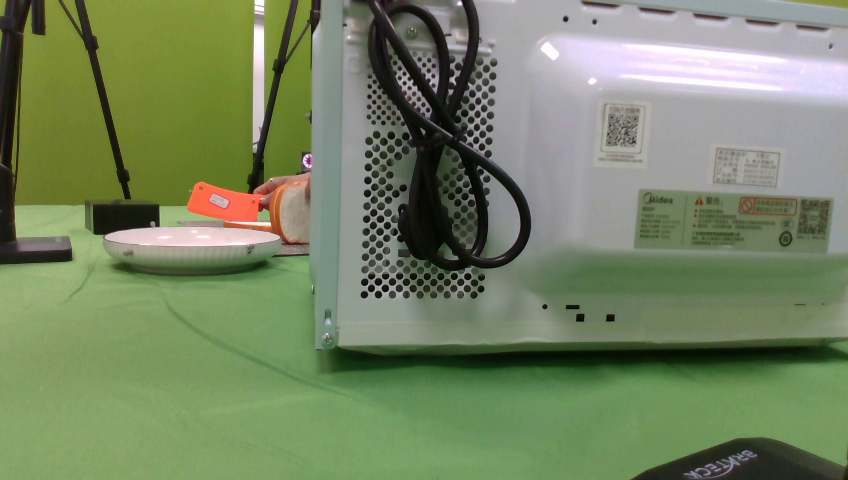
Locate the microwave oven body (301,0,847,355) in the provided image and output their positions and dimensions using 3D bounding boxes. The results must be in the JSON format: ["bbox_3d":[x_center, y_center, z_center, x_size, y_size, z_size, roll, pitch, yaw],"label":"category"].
[{"bbox_3d":[0.120,-0.053,0.535,0.443,0.260,0.325,2,7,-11],"label":"microwave oven body"}]

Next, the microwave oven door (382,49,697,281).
[{"bbox_3d":[0.135,-0.077,0.685,0.357,0.243,0.039,1,8,-12],"label":"microwave oven door"}]

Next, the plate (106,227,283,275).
[{"bbox_3d":[-0.288,0.013,0.772,0.208,0.039,0.207,2,7,0],"label":"plate"}]

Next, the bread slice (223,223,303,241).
[{"bbox_3d":[-0.274,-0.013,1.041,0.135,0.018,0.106,8,-3,-42],"label":"bread slice"}]

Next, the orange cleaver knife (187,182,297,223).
[{"bbox_3d":[-0.359,-0.069,1.207,0.212,0.077,0.012,6,-25,-27],"label":"orange cleaver knife"}]

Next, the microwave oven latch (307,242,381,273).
[{"bbox_3d":[-0.086,0.019,0.656,0.079,0.029,0.030,2,7,-10],"label":"microwave oven latch"}]
